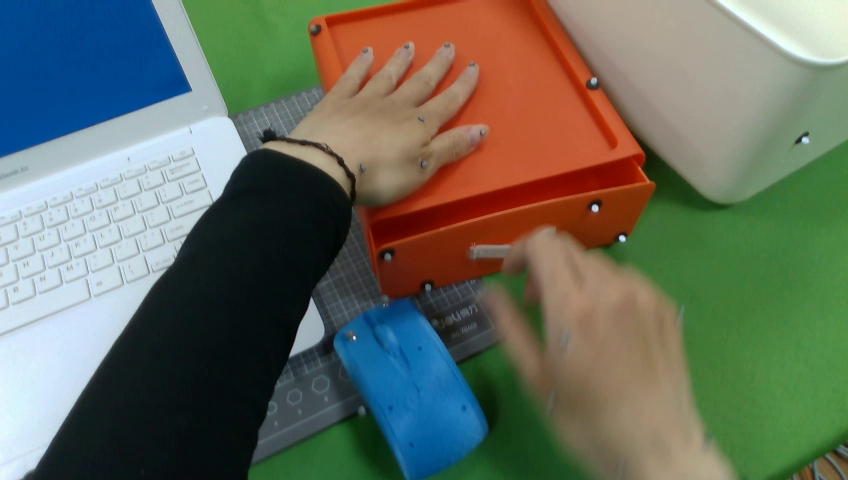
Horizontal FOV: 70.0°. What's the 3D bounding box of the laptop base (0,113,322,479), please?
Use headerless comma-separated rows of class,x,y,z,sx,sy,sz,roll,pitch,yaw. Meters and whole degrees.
laptop base,-0.276,0.047,0.437,0.355,0.023,0.233,-23,64,-13

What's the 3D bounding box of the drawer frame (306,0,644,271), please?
drawer frame,0.027,-0.099,0.482,0.202,0.083,0.211,-15,58,-9

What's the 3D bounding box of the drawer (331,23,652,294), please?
drawer,0.035,-0.080,0.470,0.195,0.074,0.209,-14,58,-7

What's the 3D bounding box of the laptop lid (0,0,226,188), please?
laptop lid,-0.356,-0.138,0.435,0.357,0.244,0.013,-25,31,-12

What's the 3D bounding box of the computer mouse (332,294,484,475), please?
computer mouse,-0.013,0.088,0.391,0.063,0.041,0.116,-27,59,-10

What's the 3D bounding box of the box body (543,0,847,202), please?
box body,0.237,-0.233,0.515,0.254,0.162,0.360,-28,61,-15
